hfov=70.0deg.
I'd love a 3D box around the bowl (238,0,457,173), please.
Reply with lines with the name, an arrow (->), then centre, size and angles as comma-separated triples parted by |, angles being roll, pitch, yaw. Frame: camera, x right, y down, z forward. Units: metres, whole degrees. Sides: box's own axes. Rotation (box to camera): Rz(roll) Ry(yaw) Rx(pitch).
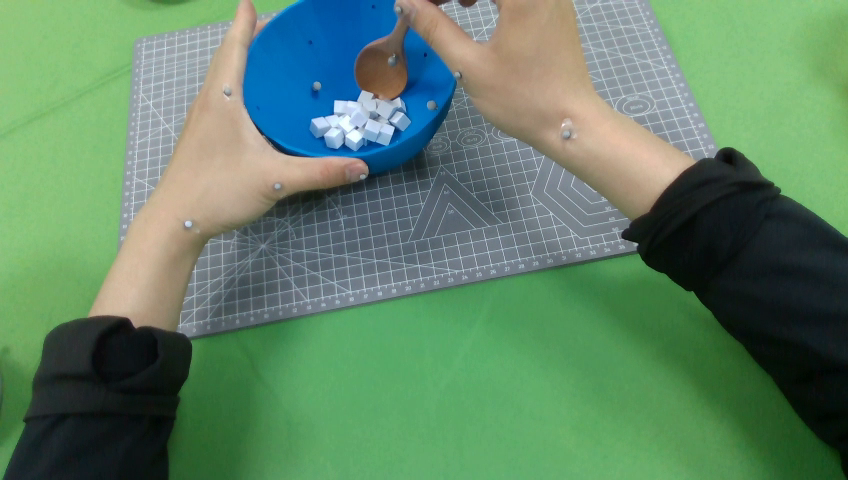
bowl -> -0.049, -0.104, 0.445 | 0.151, 0.077, 0.150 | -2, 65, 4

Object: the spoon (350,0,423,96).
spoon -> -0.013, -0.139, 0.381 | 0.042, 0.193, 0.021 | 31, 73, -10

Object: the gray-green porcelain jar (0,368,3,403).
gray-green porcelain jar -> -0.335, 0.089, 0.359 | 0.106, 0.127, 0.105 | -3, 63, 5
